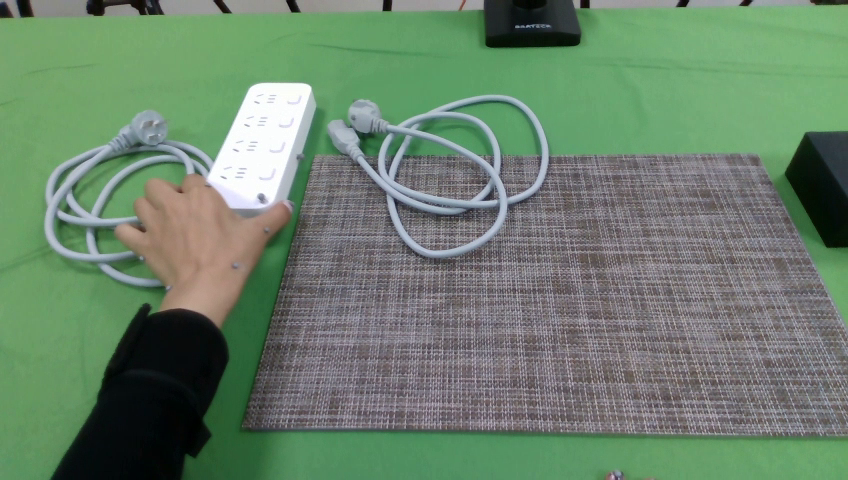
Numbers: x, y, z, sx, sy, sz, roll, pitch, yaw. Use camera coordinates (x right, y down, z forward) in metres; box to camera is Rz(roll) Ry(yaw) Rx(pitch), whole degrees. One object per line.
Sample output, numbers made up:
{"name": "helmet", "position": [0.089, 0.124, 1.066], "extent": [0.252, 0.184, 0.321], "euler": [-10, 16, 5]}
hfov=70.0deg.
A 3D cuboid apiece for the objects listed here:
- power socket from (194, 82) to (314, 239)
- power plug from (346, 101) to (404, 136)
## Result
{"name": "power socket", "position": [-0.165, -0.093, 0.614], "extent": [0.072, 0.033, 0.224], "euler": [5, 46, 0]}
{"name": "power plug", "position": [-0.051, -0.122, 0.648], "extent": [0.072, 0.035, 0.052], "euler": [30, 29, 7]}
